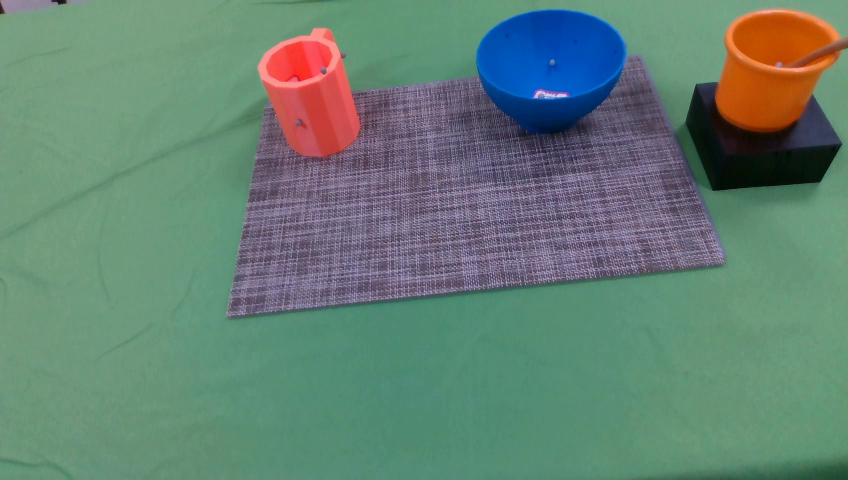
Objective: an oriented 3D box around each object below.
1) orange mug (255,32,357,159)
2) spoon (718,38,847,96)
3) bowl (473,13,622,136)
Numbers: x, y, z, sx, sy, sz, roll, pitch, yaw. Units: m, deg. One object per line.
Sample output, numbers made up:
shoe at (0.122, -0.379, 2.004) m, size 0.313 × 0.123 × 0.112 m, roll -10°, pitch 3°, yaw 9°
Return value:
orange mug at (-0.123, -0.167, 0.669) m, size 0.083 × 0.102 × 0.125 m, roll 4°, pitch 58°, yaw 12°
spoon at (0.332, -0.152, 0.502) m, size 0.041 × 0.193 × 0.022 m, roll -36°, pitch 99°, yaw -22°
bowl at (0.128, -0.165, 0.645) m, size 0.151 × 0.077 × 0.150 m, roll -4°, pitch 52°, yaw 5°
